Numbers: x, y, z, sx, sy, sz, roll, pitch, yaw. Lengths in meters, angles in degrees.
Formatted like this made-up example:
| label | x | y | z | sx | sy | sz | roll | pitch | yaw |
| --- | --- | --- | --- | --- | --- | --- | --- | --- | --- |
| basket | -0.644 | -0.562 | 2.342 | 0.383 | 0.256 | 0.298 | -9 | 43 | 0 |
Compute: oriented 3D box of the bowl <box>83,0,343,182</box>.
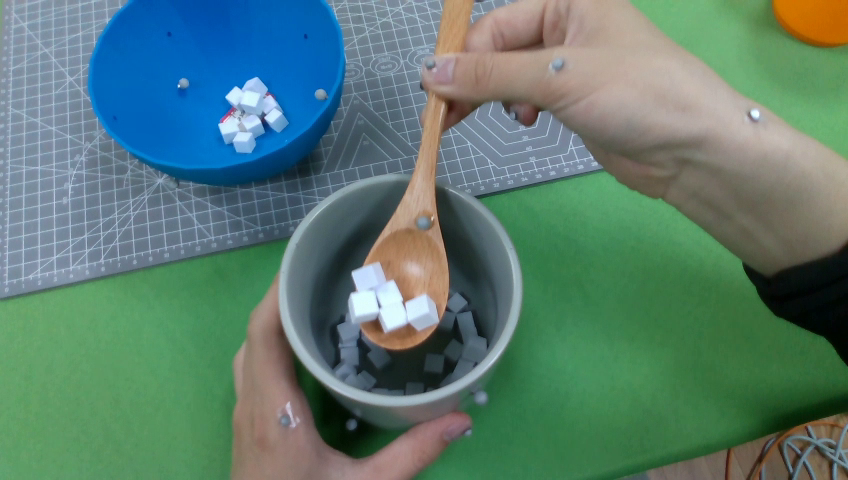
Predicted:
| label | x | y | z | sx | sy | sz | roll | pitch | yaw |
| --- | --- | --- | --- | --- | --- | --- | --- | --- | --- |
| bowl | -0.122 | -0.094 | 0.389 | 0.151 | 0.077 | 0.150 | 0 | 68 | 0 |

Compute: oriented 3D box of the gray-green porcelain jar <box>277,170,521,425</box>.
| label | x | y | z | sx | sy | sz | roll | pitch | yaw |
| --- | --- | --- | --- | --- | --- | --- | --- | --- | --- |
| gray-green porcelain jar | -0.010 | 0.039 | 0.315 | 0.106 | 0.127 | 0.105 | 0 | 68 | 0 |

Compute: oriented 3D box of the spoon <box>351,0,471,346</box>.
| label | x | y | z | sx | sy | sz | roll | pitch | yaw |
| --- | --- | --- | --- | --- | --- | --- | --- | --- | --- |
| spoon | 0.004 | -0.050 | 0.266 | 0.041 | 0.022 | 0.193 | 11 | 90 | 8 |
